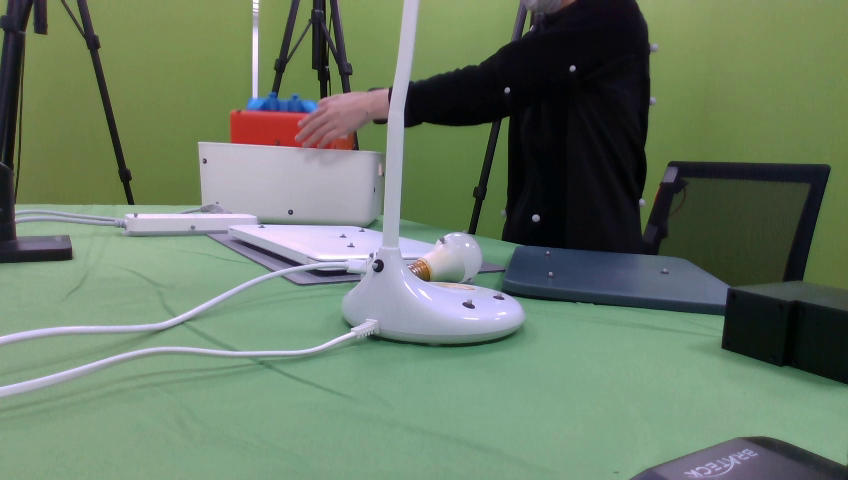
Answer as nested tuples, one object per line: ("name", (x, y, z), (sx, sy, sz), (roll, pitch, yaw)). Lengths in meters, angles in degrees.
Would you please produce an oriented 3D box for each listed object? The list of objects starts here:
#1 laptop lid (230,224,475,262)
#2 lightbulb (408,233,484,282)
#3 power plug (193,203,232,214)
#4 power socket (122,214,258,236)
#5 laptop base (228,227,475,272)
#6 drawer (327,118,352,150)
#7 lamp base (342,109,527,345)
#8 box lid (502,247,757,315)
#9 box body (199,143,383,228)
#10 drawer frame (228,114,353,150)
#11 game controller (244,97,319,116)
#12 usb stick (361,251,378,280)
("laptop lid", (-0.120, 0.000, 0.889), (0.243, 0.013, 0.355), (1, 7, -33))
("lightbulb", (0.020, 0.028, 0.694), (0.108, 0.059, 0.059), (-20, 18, -31))
("power plug", (-0.394, -0.043, 1.140), (0.072, 0.052, 0.035), (-13, 2, 32))
("power socket", (-0.398, -0.028, 1.049), (0.228, 0.032, 0.072), (-3, 8, -34))
("laptop base", (-0.122, 0.011, 0.889), (0.237, 0.023, 0.352), (2, 6, -35))
("drawer", (-0.279, -0.228, 1.317), (0.212, 0.073, 0.194), (1, 12, 7))
("lamp base", (0.006, -0.015, 0.505), (0.160, 0.180, 0.180), (6, 11, 29))
("box lid", (0.244, 0.044, 0.793), (0.263, 0.015, 0.372), (4, 7, 11))
("box body", (-0.276, -0.124, 1.335), (0.364, 0.160, 0.254), (3, 7, 1))
("drawer frame", (-0.281, -0.230, 1.317), (0.213, 0.082, 0.202), (2, 10, 7))
("game controller", (-0.308, -0.281, 1.308), (0.156, 0.051, 0.097), (-1, 6, -16))
("usb stick", (-0.052, 0.033, 0.656), (0.027, 0.021, 0.059), (4, -27, -20))
